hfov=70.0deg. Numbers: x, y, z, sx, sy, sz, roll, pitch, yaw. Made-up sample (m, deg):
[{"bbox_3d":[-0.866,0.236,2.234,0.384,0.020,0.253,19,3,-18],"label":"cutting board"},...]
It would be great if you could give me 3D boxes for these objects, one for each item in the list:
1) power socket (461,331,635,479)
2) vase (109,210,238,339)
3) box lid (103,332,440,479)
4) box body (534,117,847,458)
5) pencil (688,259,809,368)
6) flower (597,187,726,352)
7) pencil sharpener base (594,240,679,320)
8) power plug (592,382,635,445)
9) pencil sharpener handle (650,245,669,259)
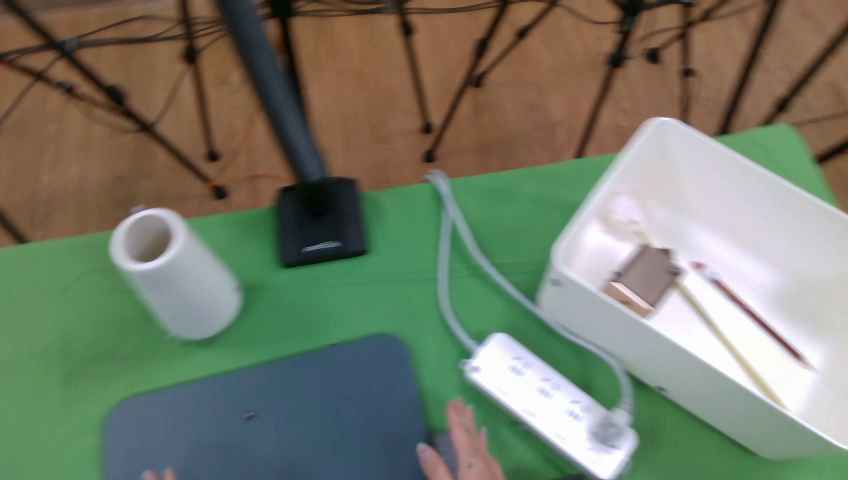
[{"bbox_3d":[0.149,0.196,0.730,0.225,0.033,0.072,36,68,15],"label":"power socket"},{"bbox_3d":[-0.283,0.043,0.699,0.098,0.201,0.097,1,62,-2],"label":"vase"},{"bbox_3d":[-0.171,0.265,0.697,0.372,0.015,0.261,-13,65,-8],"label":"box lid"},{"bbox_3d":[0.344,0.059,0.730,0.362,0.161,0.253,33,67,13],"label":"box body"},{"bbox_3d":[0.424,0.095,0.794,0.012,0.012,0.193,-38,73,-18],"label":"pencil"},{"bbox_3d":[0.347,0.081,0.798,0.044,0.038,0.359,-34,74,9],"label":"flower"},{"bbox_3d":[0.257,0.059,0.750,0.061,0.108,0.076,39,70,17],"label":"pencil sharpener base"},{"bbox_3d":[0.226,0.206,0.701,0.072,0.053,0.035,-36,67,-22],"label":"power plug"},{"bbox_3d":[0.292,0.020,0.755,0.035,0.068,0.030,37,69,21],"label":"pencil sharpener handle"}]
